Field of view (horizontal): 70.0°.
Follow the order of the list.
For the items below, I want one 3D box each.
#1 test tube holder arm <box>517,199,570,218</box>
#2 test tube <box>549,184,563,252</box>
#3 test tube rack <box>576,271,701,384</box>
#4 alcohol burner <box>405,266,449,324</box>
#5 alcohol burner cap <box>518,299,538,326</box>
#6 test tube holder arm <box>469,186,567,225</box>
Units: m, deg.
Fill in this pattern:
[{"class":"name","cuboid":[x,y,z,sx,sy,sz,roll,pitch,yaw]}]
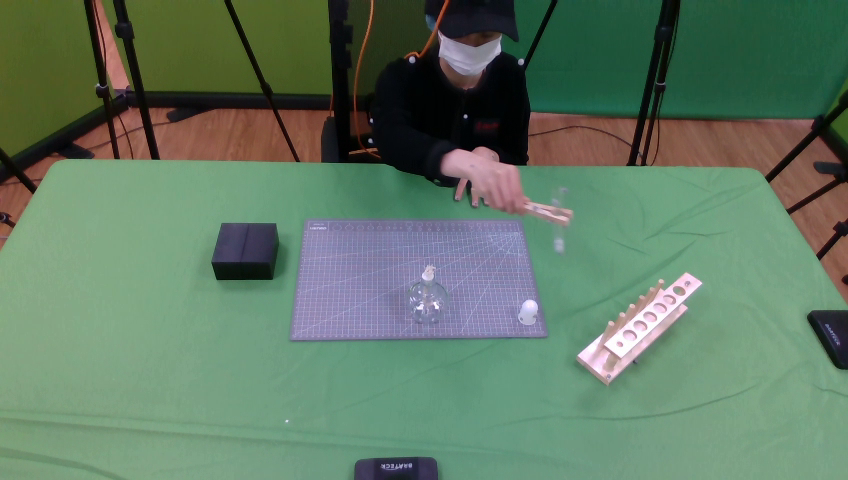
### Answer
[{"class":"test tube holder arm","cuboid":[0.188,-0.050,0.959,0.087,0.015,0.010,13,52,26]},{"class":"test tube","cuboid":[0.209,-0.031,0.956,0.017,0.151,0.017,-7,48,9]},{"class":"test tube rack","cuboid":[0.373,0.138,1.047,0.242,0.085,0.066,-31,56,-29]},{"class":"alcohol burner","cuboid":[0.005,0.089,1.043,0.078,0.120,0.077,1,45,-1]},{"class":"alcohol burner cap","cuboid":[0.186,0.126,1.072,0.034,0.048,0.033,1,45,-1]},{"class":"test tube holder arm","cuboid":[0.147,-0.058,0.978,0.177,0.015,0.013,20,55,31]}]
